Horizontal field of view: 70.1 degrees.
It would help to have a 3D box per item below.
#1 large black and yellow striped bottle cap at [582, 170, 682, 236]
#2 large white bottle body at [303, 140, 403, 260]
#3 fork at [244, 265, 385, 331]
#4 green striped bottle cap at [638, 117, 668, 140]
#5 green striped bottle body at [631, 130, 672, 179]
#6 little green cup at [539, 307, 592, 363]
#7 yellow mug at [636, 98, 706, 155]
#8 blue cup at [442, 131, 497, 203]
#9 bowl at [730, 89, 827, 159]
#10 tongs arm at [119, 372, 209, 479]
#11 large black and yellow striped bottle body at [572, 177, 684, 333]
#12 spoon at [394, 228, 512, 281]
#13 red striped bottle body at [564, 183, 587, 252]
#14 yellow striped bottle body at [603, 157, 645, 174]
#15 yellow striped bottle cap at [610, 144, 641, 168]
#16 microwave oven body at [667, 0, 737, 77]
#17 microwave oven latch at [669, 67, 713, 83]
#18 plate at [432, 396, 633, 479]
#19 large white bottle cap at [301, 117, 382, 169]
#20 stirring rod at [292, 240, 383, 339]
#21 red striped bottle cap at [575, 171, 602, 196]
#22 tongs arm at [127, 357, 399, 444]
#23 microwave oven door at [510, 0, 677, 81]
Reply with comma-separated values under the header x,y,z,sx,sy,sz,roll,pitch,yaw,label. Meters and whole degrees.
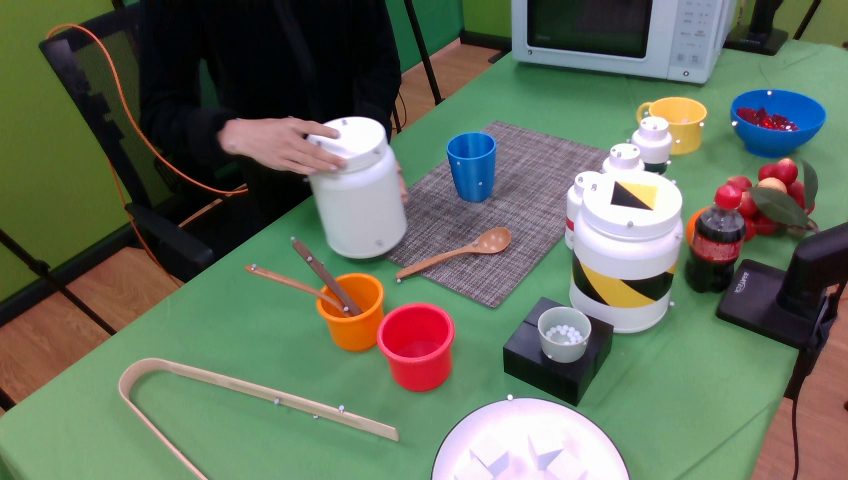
x,y,z,sx,sy,sz,roll,pitch,yaw,label
0.252,-0.048,0.735,0.115,0.019,0.114,-3,40,3,large black and yellow striped bottle cap
-0.107,-0.077,0.916,0.130,0.185,0.130,-5,40,5,large white bottle body
-0.142,0.078,0.806,0.209,0.018,0.028,30,33,-23,fork
0.369,-0.180,0.974,0.044,0.020,0.044,-4,41,4,green striped bottle cap
0.375,-0.140,1.007,0.063,0.120,0.063,-5,40,5,green striped bottle body
0.169,0.115,0.721,0.061,0.039,0.061,-4,42,4,little green cup
0.453,-0.218,1.129,0.100,0.064,0.129,-35,46,-26,yellow mug
0.085,-0.121,1.039,0.092,0.101,0.092,-5,41,5,blue cup
0.615,-0.197,1.069,0.151,0.077,0.150,-5,40,5,bowl
-0.258,0.257,0.700,0.384,0.028,0.028,24,55,34,tongs arm
0.262,0.017,0.788,0.131,0.185,0.130,-5,40,4,large black and yellow striped bottle body
0.045,0.024,0.935,0.194,0.022,0.041,-18,65,-11,spoon
0.247,-0.041,0.910,0.063,0.120,0.062,-2,39,2,red striped bottle body
0.313,-0.089,0.956,0.063,0.121,0.062,-4,40,4,yellow striped bottle body
0.307,-0.128,0.923,0.044,0.019,0.044,-5,39,5,yellow striped bottle cap
0.462,-0.552,1.368,0.439,0.261,0.326,14,45,26,microwave oven body
0.556,-0.349,1.261,0.078,0.029,0.030,16,46,27,microwave oven latch
0.112,0.261,0.634,0.209,0.038,0.208,-5,40,4,plate
-0.118,-0.140,0.862,0.115,0.018,0.114,-5,41,5,large white bottle cap
-0.118,0.068,0.826,0.176,0.006,0.014,49,59,-4,stirring rod
0.242,-0.081,0.876,0.044,0.018,0.044,-5,44,5,red striped bottle cap
-0.213,0.205,0.755,0.382,0.026,0.051,12,46,23,tongs arm
0.354,-0.478,1.291,0.353,0.245,0.039,15,45,25,microwave oven door
